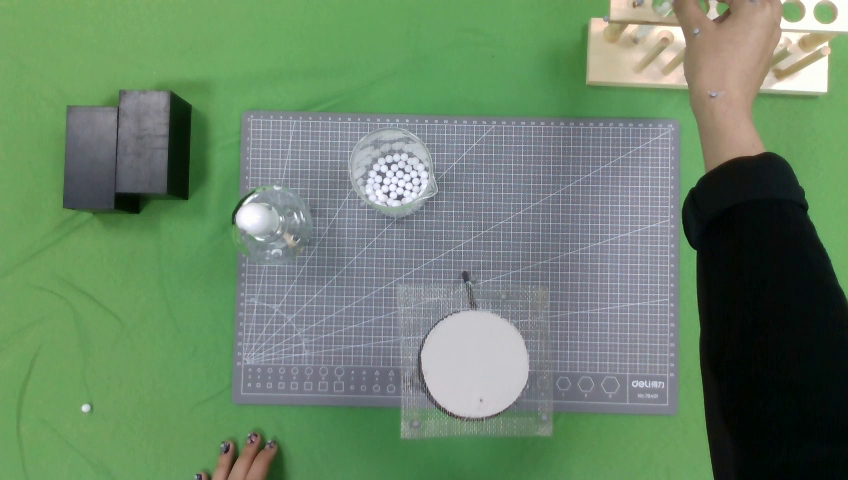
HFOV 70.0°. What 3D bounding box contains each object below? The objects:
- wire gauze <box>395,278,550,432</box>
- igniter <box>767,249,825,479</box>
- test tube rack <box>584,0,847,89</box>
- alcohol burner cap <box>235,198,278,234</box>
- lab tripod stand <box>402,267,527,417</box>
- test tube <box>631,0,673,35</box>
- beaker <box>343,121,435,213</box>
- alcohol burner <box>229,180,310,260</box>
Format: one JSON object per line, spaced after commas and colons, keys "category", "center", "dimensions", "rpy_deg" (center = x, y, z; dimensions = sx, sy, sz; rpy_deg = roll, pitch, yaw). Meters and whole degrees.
{"category": "wire gauze", "center": [0.039, 0.091, 0.485], "dimensions": [0.125, 0.011, 0.121], "rpy_deg": [0, 87, 0]}
{"category": "igniter", "center": [0.372, 0.147, 0.604], "dimensions": [0.057, 0.025, 0.276], "rpy_deg": [6, 88, -9]}
{"category": "test tube rack", "center": [0.287, -0.196, 0.587], "dimensions": [0.242, 0.085, 0.066], "rpy_deg": [2, 87, 1]}
{"category": "alcohol burner cap", "center": [-0.148, -0.022, 0.532], "dimensions": [0.034, 0.048, 0.034], "rpy_deg": [0, 90, -3]}
{"category": "lab tripod stand", "center": [0.038, 0.097, 0.553], "dimensions": [0.148, 0.131, 0.148], "rpy_deg": [0, 87, 2]}
{"category": "test tube", "center": [0.218, -0.221, 0.539], "dimensions": [0.017, 0.150, 0.017], "rpy_deg": [0, 83, -2]}
{"category": "beaker", "center": [-0.028, -0.063, 0.575], "dimensions": [0.084, 0.100, 0.074], "rpy_deg": [26, 89, 1]}
{"category": "alcohol burner", "center": [-0.149, -0.021, 0.567], "dimensions": [0.078, 0.119, 0.077], "rpy_deg": [0, 85, 1]}
